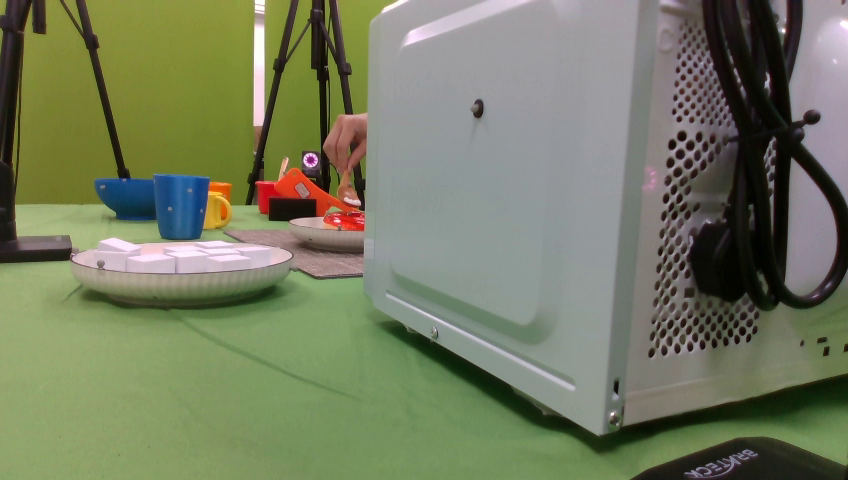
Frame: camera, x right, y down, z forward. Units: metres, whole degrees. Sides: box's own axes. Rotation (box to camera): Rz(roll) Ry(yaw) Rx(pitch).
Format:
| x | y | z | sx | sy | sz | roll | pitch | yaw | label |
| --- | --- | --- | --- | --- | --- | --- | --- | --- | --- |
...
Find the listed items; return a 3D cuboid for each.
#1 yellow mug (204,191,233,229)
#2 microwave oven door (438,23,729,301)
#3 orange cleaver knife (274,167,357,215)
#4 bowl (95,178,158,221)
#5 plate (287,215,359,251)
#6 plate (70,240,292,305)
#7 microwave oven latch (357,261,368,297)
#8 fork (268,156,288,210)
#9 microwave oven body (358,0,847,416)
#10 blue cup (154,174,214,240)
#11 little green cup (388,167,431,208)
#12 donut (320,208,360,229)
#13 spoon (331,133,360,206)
| x | y | z | sx | sy | sz | roll | pitch | yaw | label |
| --- | --- | --- | --- | --- | --- | --- | --- | --- | --- |
| -0.415 | -0.057 | 1.132 | 0.130 | 0.064 | 0.100 | 6 | 8 | 16 | yellow mug |
| 0.181 | -0.072 | 0.620 | 0.358 | 0.243 | 0.039 | -2 | 8 | -29 | microwave oven door |
| -0.238 | -0.090 | 1.381 | 0.212 | 0.077 | 0.012 | 31 | 0 | -19 | orange cleaver knife |
| -0.576 | -0.081 | 1.217 | 0.151 | 0.077 | 0.151 | 3 | 8 | 0 | bowl |
| -0.112 | -0.012 | 0.960 | 0.209 | 0.038 | 0.209 | 3 | 8 | 0 | plate |
| -0.242 | 0.031 | 0.618 | 0.208 | 0.039 | 0.207 | 2 | 8 | 0 | plate |
| -0.019 | 0.033 | 0.531 | 0.079 | 0.029 | 0.030 | -1 | 7 | -27 | microwave oven latch |
| -0.360 | -0.144 | 1.508 | 0.028 | 0.018 | 0.207 | 2 | 49 | 0 | fork |
| 0.211 | -0.047 | 0.474 | 0.444 | 0.260 | 0.324 | -1 | 7 | -28 | microwave oven body |
| -0.390 | -0.053 | 0.978 | 0.093 | 0.100 | 0.092 | 3 | 6 | 0 | blue cup |
| -0.020 | -0.079 | 0.930 | 0.061 | 0.038 | 0.061 | -30 | -8 | -4 | little green cup |
| -0.115 | -0.024 | 0.961 | 0.099 | 0.048 | 0.099 | 5 | 9 | -1 | donut |
| -0.136 | -0.122 | 1.015 | 0.042 | 0.021 | 0.193 | 13 | 43 | -29 | spoon |
